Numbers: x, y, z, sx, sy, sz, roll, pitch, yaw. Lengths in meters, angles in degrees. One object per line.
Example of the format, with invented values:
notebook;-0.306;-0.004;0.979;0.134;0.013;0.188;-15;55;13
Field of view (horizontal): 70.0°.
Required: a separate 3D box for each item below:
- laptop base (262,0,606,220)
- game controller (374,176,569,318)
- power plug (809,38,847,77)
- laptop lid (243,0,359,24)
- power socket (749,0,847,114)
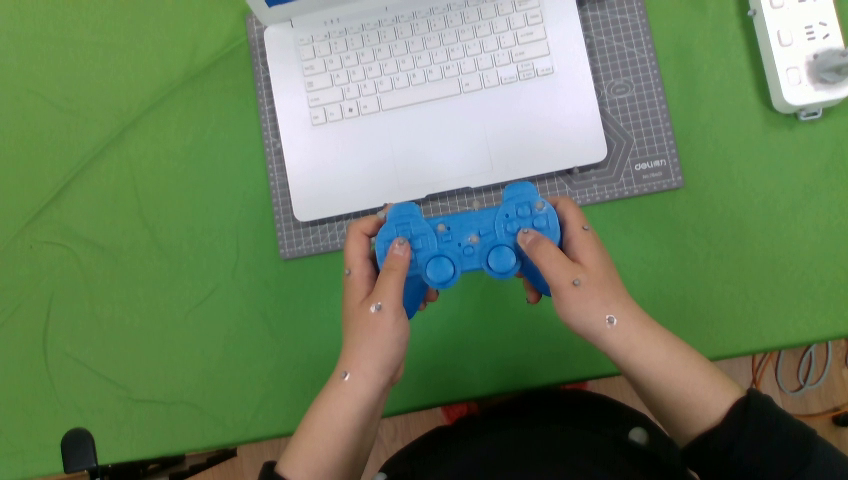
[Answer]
laptop base;0.004;-0.169;0.679;0.354;0.023;0.235;-12;86;5
game controller;0.035;0.006;0.480;0.155;0.051;0.097;-10;91;3
power plug;0.424;-0.180;0.604;0.072;0.053;0.035;2;84;3
laptop lid;-0.036;-0.314;0.578;0.356;0.243;0.013;-12;74;7
power socket;0.385;-0.246;0.634;0.072;0.033;0.226;-9;83;7
